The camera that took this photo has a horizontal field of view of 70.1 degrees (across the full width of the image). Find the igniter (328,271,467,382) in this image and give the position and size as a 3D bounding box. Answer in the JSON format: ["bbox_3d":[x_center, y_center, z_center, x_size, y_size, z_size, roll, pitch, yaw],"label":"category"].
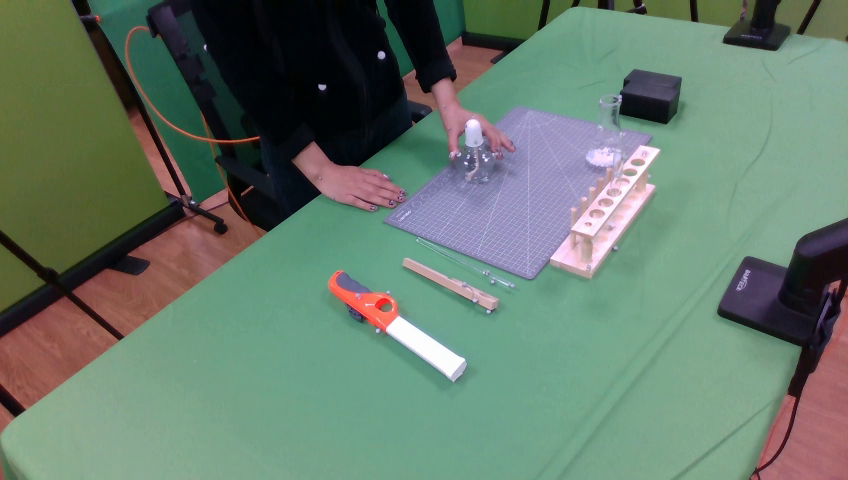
[{"bbox_3d":[-0.049,0.114,0.854,0.274,0.025,0.057,30,63,37],"label":"igniter"}]

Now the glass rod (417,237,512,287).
[{"bbox_3d":[0.059,0.032,0.945,0.198,0.008,0.008,27,52,38],"label":"glass rod"}]

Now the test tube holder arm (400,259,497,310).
[{"bbox_3d":[0.033,0.064,0.902,0.177,0.015,0.013,23,14,32],"label":"test tube holder arm"}]

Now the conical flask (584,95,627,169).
[{"bbox_3d":[0.323,-0.192,1.066,0.075,0.122,0.075,-6,40,5],"label":"conical flask"}]

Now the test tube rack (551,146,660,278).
[{"bbox_3d":[0.286,-0.053,0.943,0.066,0.085,0.243,21,49,32],"label":"test tube rack"}]

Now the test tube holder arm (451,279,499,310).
[{"bbox_3d":[0.071,0.079,0.882,0.087,0.015,0.010,24,14,34],"label":"test tube holder arm"}]

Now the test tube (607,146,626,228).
[{"bbox_3d":[0.283,-0.074,0.892,0.017,0.151,0.017,-5,44,6],"label":"test tube"}]

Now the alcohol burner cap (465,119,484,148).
[{"bbox_3d":[0.087,-0.189,1.059,0.034,0.048,0.033,-6,46,7],"label":"alcohol burner cap"}]

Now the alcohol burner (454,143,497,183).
[{"bbox_3d":[0.092,-0.163,1.083,0.078,0.119,0.077,-4,40,4],"label":"alcohol burner"}]
